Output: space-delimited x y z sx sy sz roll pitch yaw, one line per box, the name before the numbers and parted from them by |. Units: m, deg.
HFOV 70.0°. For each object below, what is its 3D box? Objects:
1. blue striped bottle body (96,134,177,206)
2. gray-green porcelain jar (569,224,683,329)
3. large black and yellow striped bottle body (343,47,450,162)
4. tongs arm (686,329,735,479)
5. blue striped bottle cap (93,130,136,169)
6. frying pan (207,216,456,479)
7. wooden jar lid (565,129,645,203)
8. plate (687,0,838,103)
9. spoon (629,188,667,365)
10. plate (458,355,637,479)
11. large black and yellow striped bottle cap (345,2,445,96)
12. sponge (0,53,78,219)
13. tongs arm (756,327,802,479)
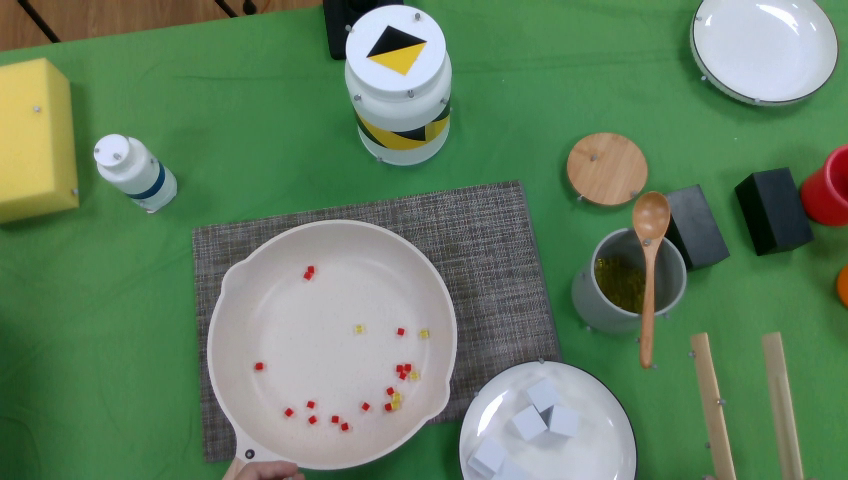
blue striped bottle body | -0.373 -0.093 0.780 0.063 0.121 0.062 0 73 1
gray-green porcelain jar | 0.236 0.050 0.731 0.106 0.127 0.105 0 73 1
large black and yellow striped bottle body | -0.033 -0.194 0.777 0.131 0.185 0.130 0 72 1
tongs arm | 0.329 0.282 0.617 0.051 0.026 0.382 2 74 -25
blue striped bottle cap | -0.374 -0.110 0.732 0.044 0.021 0.044 0 75 0
frying pan | -0.163 0.197 0.698 0.306 0.103 0.486 31 68 10
wooden jar lid | 0.247 -0.100 0.832 0.108 0.021 0.108 0 75 1
plate | 0.483 -0.287 0.876 0.209 0.038 0.208 0 73 1
spoon | 0.242 0.038 0.662 0.041 0.022 0.193 7 77 -2
plate | 0.144 0.242 0.719 0.208 0.039 0.206 0 75 0
large black and yellow striped bottle cap | -0.033 -0.221 0.696 0.115 0.019 0.114 0 75 1
sponge | -0.555 -0.141 0.826 0.118 0.061 0.205 -14 75 -4
tongs arm | 0.386 0.285 0.642 0.028 0.028 0.385 11 71 -26
